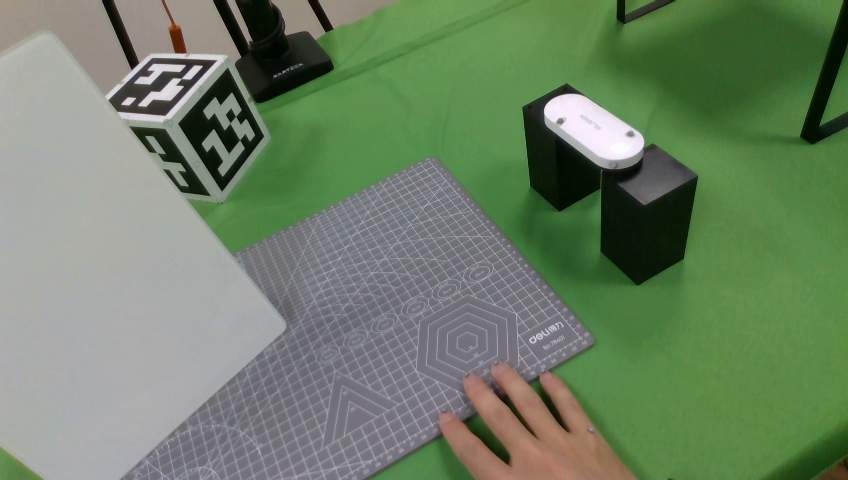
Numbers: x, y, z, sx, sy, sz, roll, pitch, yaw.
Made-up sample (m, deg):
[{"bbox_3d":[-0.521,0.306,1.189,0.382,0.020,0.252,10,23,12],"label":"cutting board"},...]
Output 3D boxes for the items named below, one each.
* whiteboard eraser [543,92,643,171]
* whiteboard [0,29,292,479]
[{"bbox_3d":[0.138,-0.092,0.502,0.041,0.019,0.100,-29,49,-12],"label":"whiteboard eraser"},{"bbox_3d":[-0.301,0.025,0.501,0.217,0.308,0.142,-43,33,-21],"label":"whiteboard"}]
